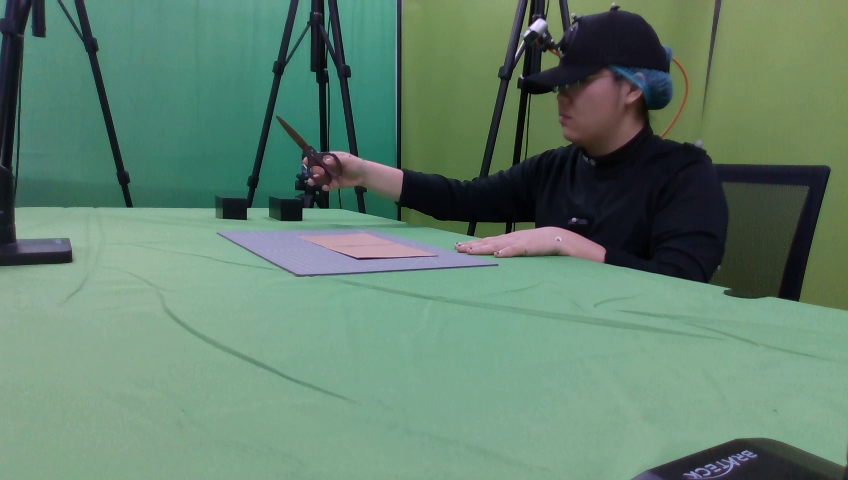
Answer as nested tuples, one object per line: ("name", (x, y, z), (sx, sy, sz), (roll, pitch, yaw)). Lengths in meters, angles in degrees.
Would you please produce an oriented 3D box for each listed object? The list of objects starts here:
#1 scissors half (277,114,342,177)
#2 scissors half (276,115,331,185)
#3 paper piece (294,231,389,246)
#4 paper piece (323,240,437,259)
("scissors half", (-0.237, -0.198, 1.255), (0.175, 0.040, 0.013), (41, 12, -17))
("scissors half", (-0.253, -0.187, 1.259), (0.040, 0.175, 0.013), (-28, 20, 12))
("paper piece", (-0.138, -0.002, 1.045), (0.136, 0.004, 0.134), (-3, 10, -30))
("paper piece", (-0.069, 0.015, 0.932), (0.137, 0.008, 0.137), (-5, 11, -30))
